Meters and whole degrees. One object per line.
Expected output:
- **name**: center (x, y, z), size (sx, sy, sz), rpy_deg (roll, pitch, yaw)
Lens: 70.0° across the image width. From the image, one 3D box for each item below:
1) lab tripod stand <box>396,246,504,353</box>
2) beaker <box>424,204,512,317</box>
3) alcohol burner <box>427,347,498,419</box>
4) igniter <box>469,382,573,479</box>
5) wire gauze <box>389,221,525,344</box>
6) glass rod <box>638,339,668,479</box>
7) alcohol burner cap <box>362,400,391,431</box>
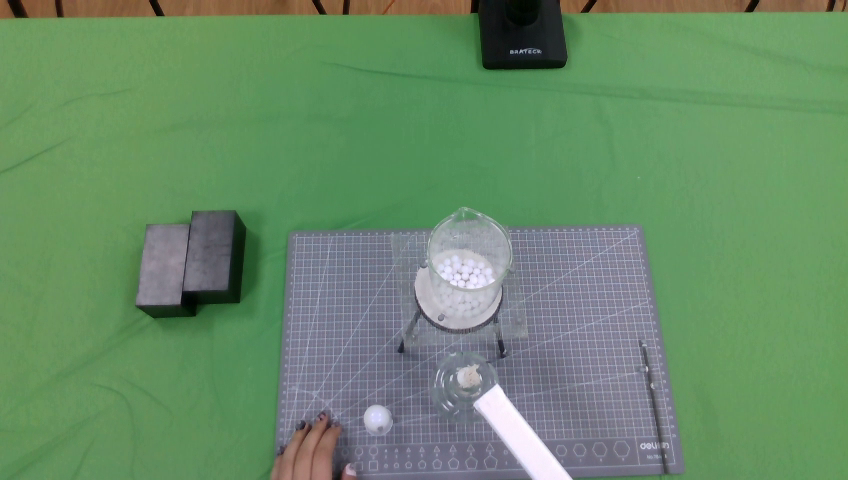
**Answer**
- **lab tripod stand**: center (0.031, 0.067, 0.664), size (0.148, 0.132, 0.147), rpy_deg (0, 67, 0)
- **beaker**: center (0.036, 0.023, 0.559), size (0.074, 0.101, 0.083), rpy_deg (-4, 67, -3)
- **alcohol burner**: center (0.042, 0.148, 0.644), size (0.078, 0.120, 0.077), rpy_deg (0, 66, 0)
- **igniter**: center (0.139, 0.247, 0.545), size (0.057, 0.025, 0.275), rpy_deg (-38, 76, -4)
- **wire gauze**: center (0.031, 0.040, 0.604), size (0.125, 0.011, 0.120), rpy_deg (-6, 66, -2)
- **glass rod**: center (0.260, 0.209, 0.682), size (0.008, 0.008, 0.198), rpy_deg (-1, 68, -2)
- **alcohol burner cap**: center (-0.053, 0.190, 0.663), size (0.034, 0.048, 0.033), rpy_deg (1, 69, -1)
